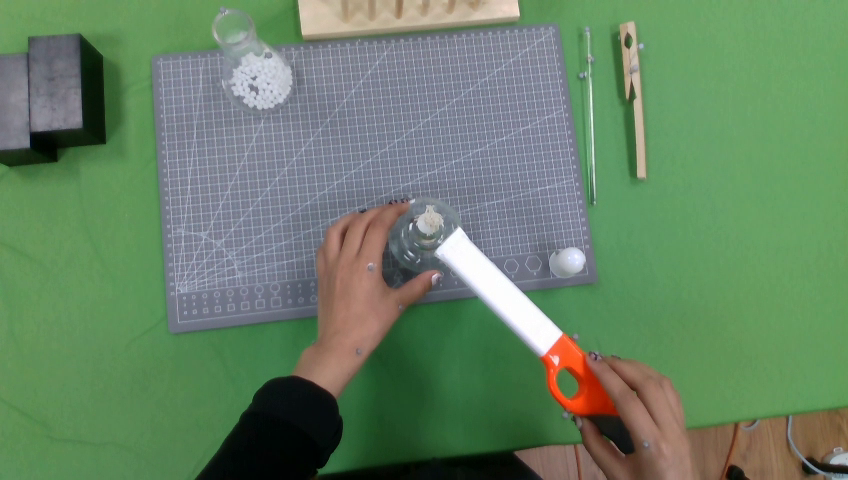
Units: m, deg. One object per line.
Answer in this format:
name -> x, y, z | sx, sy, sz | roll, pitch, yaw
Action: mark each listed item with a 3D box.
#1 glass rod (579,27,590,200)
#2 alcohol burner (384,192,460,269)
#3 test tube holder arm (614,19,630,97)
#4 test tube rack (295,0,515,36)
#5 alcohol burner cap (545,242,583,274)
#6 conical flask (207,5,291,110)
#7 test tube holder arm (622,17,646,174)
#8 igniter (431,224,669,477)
glass rod -> 0.180, -0.142, 0.678 | 0.008, 0.008, 0.199 | 0, 85, -4
alcohol burner -> -0.001, -0.012, 0.592 | 0.078, 0.119, 0.077 | 0, 81, -2
test tube holder arm -> 0.226, -0.206, 0.686 | 0.010, 0.015, 0.087 | -8, 83, 30
test tube rack -> -0.020, -0.278, 0.643 | 0.243, 0.085, 0.066 | -7, 83, -5
alcohol burner cap -> 0.149, 0.017, 0.635 | 0.034, 0.048, 0.033 | 1, 81, -4
conical flask -> -0.177, -0.183, 0.597 | 0.075, 0.122, 0.075 | 1, 82, -4
test tube holder arm -> 0.234, -0.162, 0.679 | 0.013, 0.015, 0.178 | -9, 82, 30
igniter -> 0.112, 0.095, 0.519 | 0.277, 0.025, 0.057 | 46, 76, -2
